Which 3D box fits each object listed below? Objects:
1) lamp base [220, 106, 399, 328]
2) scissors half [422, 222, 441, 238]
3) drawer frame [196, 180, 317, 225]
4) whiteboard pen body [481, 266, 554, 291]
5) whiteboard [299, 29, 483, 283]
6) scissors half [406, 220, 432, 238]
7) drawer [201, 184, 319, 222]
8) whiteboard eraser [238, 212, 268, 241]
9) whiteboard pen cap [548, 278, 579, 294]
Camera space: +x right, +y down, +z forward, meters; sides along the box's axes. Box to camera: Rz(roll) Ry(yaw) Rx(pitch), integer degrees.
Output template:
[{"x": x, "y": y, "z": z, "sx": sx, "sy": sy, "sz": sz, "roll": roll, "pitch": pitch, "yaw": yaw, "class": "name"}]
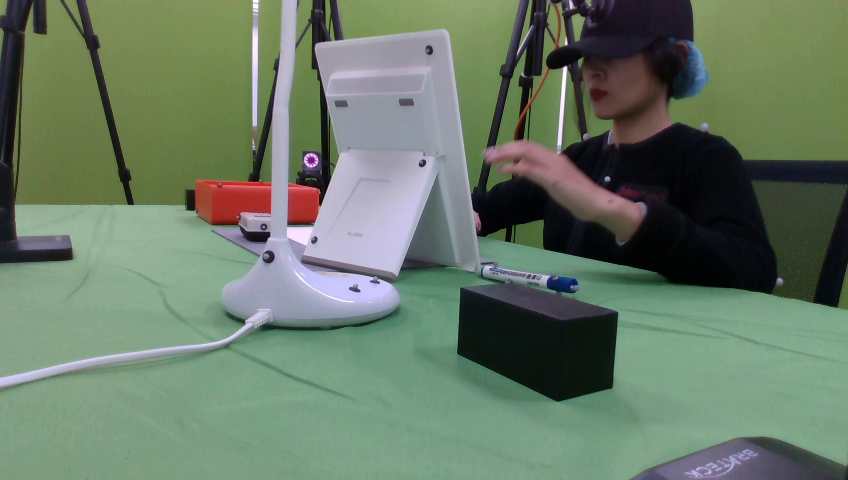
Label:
[{"x": -0.102, "y": -0.023, "z": 0.531, "sx": 0.160, "sy": 0.180, "sz": 0.179, "roll": 4, "pitch": 10, "yaw": 10, "class": "lamp base"}, {"x": 0.013, "y": -0.018, "z": 1.217, "sx": 0.040, "sy": 0.013, "sz": 0.175, "roll": 14, "pitch": 9, "yaw": 1, "class": "scissors half"}, {"x": -0.359, "y": -0.083, "z": 1.292, "sx": 0.215, "sy": 0.082, "sz": 0.200, "roll": -2, "pitch": 10, "yaw": -30, "class": "drawer frame"}, {"x": 0.115, "y": 0.045, "z": 0.695, "sx": 0.017, "sy": 0.017, "sz": 0.140, "roll": -3, "pitch": 6, "yaw": -35, "class": "whiteboard pen body"}, {"x": -0.074, "y": -0.082, "z": 0.742, "sx": 0.216, "sy": 0.305, "sz": 0.144, "roll": 9, "pitch": 29, "yaw": 38, "class": "whiteboard"}, {"x": -0.006, "y": -0.021, "z": 1.214, "sx": 0.040, "sy": 0.013, "sz": 0.174, "roll": 6, "pitch": 10, "yaw": -15, "class": "scissors half"}, {"x": -0.353, "y": -0.082, "z": 1.296, "sx": 0.213, "sy": 0.073, "sz": 0.193, "roll": -2, "pitch": 9, "yaw": -28, "class": "drawer"}, {"x": -0.272, "y": -0.023, "z": 0.998, "sx": 0.056, "sy": 0.042, "sz": 0.112, "roll": -2, "pitch": 9, "yaw": -24, "class": "whiteboard eraser"}, {"x": 0.148, "y": 0.049, "z": 0.647, "sx": 0.018, "sy": 0.018, "sz": 0.033, "roll": -3, "pitch": 3, "yaw": -35, "class": "whiteboard pen cap"}]
